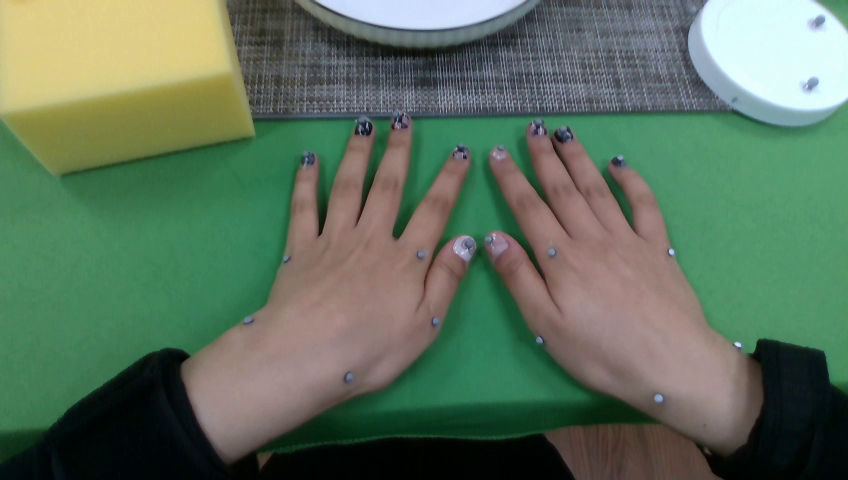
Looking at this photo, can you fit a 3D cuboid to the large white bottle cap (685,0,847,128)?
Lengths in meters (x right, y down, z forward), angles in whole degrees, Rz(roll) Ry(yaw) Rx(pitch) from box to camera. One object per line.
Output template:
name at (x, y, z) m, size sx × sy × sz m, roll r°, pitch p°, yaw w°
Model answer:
large white bottle cap at (0.239, -0.128, 0.418) m, size 0.115 × 0.018 × 0.114 m, roll 3°, pitch 65°, yaw -5°

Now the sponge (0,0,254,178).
sponge at (-0.187, -0.149, 0.374) m, size 0.118 × 0.061 × 0.205 m, roll -15°, pitch 66°, yaw -11°

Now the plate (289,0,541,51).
plate at (-0.009, -0.208, 0.426) m, size 0.209 × 0.038 × 0.207 m, roll 2°, pitch 64°, yaw -3°
